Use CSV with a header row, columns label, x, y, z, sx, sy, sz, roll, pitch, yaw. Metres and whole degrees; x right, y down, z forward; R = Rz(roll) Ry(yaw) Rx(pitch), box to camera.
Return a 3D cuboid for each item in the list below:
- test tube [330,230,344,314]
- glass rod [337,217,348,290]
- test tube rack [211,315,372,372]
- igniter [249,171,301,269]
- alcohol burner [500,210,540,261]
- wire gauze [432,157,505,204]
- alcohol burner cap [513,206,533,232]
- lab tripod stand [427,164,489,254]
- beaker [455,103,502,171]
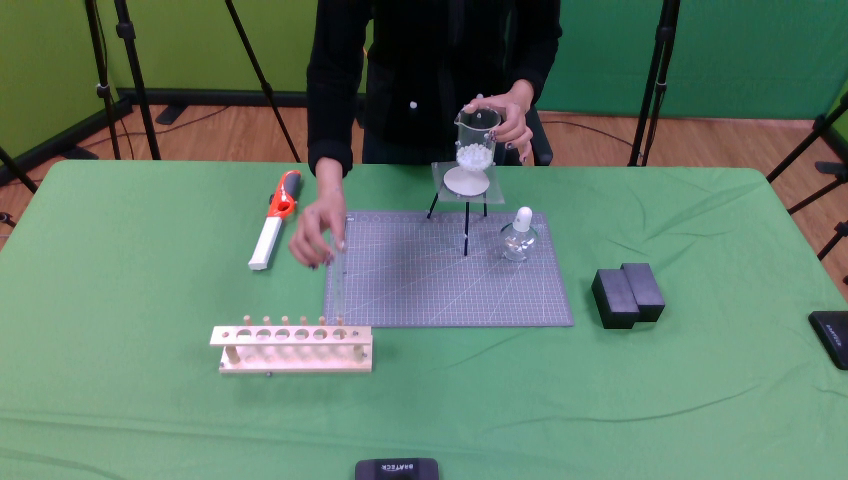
label,x,y,z,sx,sy,sz,roll,pitch,yaw
test tube,-0.129,0.051,0.901,0.017,0.151,0.017,2,34,-1
glass rod,-0.158,0.021,1.171,0.008,0.008,0.198,1,43,-2
test tube rack,-0.208,0.163,0.982,0.242,0.085,0.066,1,46,-4
igniter,-0.297,-0.049,1.220,0.057,0.025,0.275,-1,45,9
alcohol burner,0.185,-0.016,1.159,0.078,0.120,0.077,2,48,-2
wire gauze,0.081,-0.112,1.137,0.125,0.011,0.120,-2,48,-6
alcohol burner cap,0.187,-0.042,1.134,0.034,0.048,0.033,6,41,-5
lab tripod stand,0.078,-0.068,1.188,0.148,0.132,0.147,3,47,-3
beaker,0.092,-0.180,1.081,0.084,0.101,0.073,-7,48,-9
